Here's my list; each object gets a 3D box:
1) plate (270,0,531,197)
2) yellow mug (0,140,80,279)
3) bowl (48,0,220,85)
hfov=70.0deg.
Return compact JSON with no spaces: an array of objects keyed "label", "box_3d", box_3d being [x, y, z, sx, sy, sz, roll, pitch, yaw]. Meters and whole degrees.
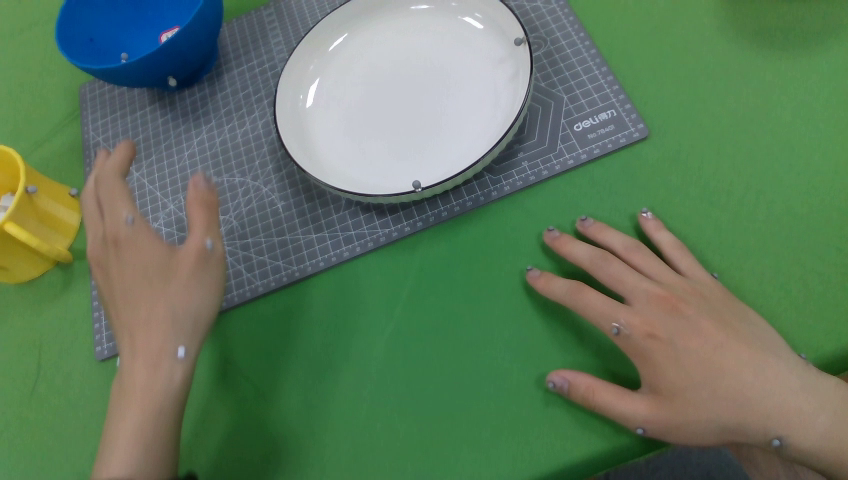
[{"label":"plate","box_3d":[-0.019,-0.122,0.479,0.209,0.038,0.207,-5,65,11]},{"label":"yellow mug","box_3d":[-0.344,-0.019,0.502,0.130,0.064,0.099,26,75,22]},{"label":"bowl","box_3d":[-0.243,-0.194,0.546,0.151,0.077,0.150,-6,65,12]}]
